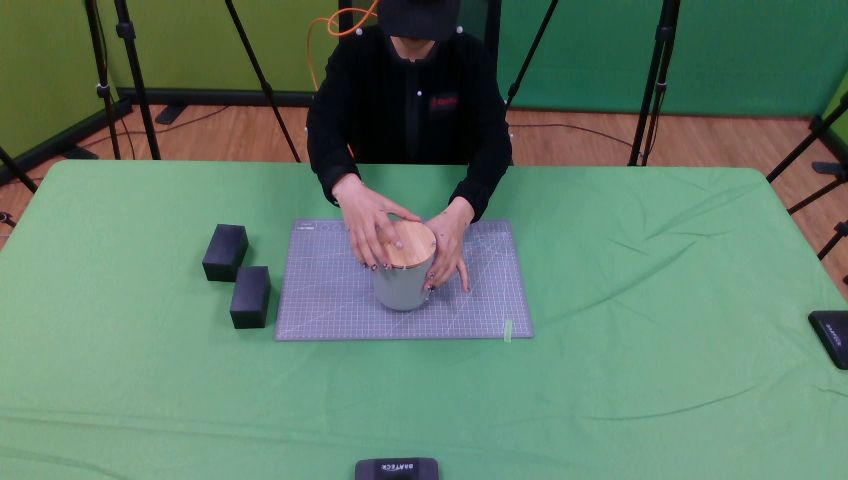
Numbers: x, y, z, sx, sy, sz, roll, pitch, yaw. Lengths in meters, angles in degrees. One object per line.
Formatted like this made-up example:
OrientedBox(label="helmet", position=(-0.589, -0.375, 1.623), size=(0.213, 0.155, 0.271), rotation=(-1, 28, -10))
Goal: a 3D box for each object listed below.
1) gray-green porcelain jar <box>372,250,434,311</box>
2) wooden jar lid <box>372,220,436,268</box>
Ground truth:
OrientedBox(label="gray-green porcelain jar", position=(-0.037, 0.054, 1.066), size=(0.106, 0.127, 0.105), rotation=(2, 46, -2))
OrientedBox(label="wooden jar lid", position=(-0.034, 0.009, 1.020), size=(0.108, 0.021, 0.107), rotation=(2, 47, -2))
